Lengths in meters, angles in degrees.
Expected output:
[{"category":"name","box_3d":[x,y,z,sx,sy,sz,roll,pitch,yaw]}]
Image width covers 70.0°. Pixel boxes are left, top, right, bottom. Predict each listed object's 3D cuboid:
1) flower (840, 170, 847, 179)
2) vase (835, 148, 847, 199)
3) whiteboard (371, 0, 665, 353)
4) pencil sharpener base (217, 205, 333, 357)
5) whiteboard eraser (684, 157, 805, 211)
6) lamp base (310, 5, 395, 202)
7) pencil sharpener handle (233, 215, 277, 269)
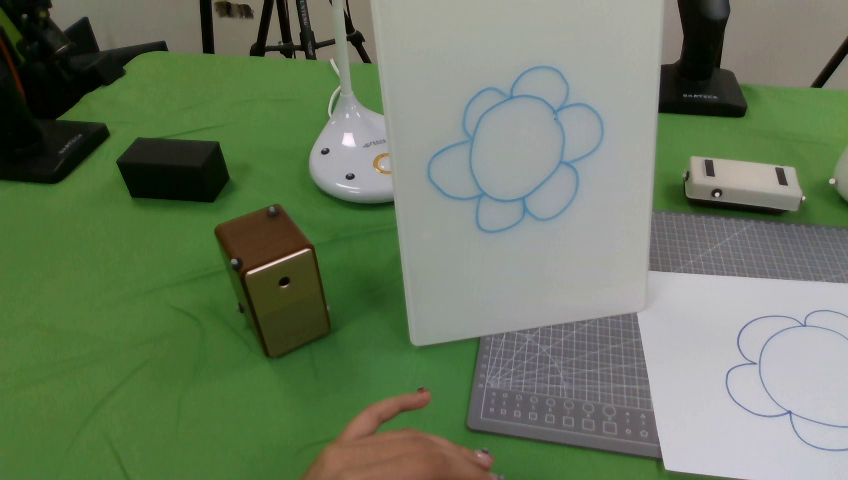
[{"category":"flower","box_3d":[0.500,-0.171,0.532,0.044,0.364,0.038,-10,59,-18]},{"category":"vase","box_3d":[0.496,-0.120,0.599,0.098,0.202,0.097,-1,42,1]},{"category":"whiteboard","box_3d":[0.075,-0.082,0.541,0.217,0.307,0.142,-8,23,-5]},{"category":"pencil sharpener base","box_3d":[-0.127,0.035,0.523,0.061,0.108,0.076,-25,46,-22]},{"category":"whiteboard eraser","box_3d":[0.343,-0.059,0.657,0.112,0.042,0.055,6,40,12]},{"category":"lamp base","box_3d":[-0.067,-0.160,0.687,0.161,0.182,0.177,-28,45,-26]},{"category":"pencil sharpener handle","box_3d":[-0.153,-0.003,0.548,0.036,0.068,0.030,-30,47,-16]}]
